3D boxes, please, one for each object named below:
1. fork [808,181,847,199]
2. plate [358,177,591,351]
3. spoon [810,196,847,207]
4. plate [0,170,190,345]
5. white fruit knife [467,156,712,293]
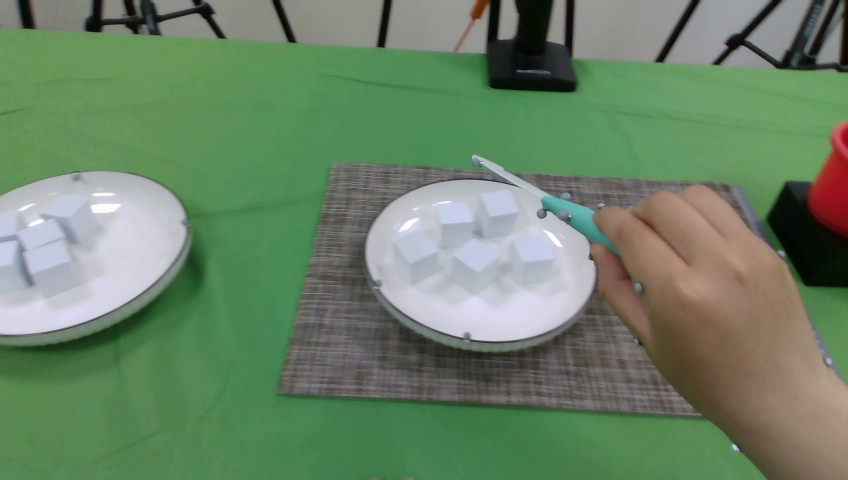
[{"bbox_3d":[0.456,-0.080,0.537,0.207,0.019,0.028,-28,13,26],"label":"fork"},{"bbox_3d":[0.045,0.020,0.553,0.208,0.039,0.205,2,44,-2],"label":"plate"},{"bbox_3d":[0.427,-0.053,0.505,0.042,0.193,0.021,-23,92,-31],"label":"spoon"},{"bbox_3d":[-0.315,0.014,0.538,0.209,0.038,0.207,2,43,-2],"label":"plate"},{"bbox_3d":[0.082,-0.020,0.370,0.027,0.016,0.205,9,18,-34],"label":"white fruit knife"}]
